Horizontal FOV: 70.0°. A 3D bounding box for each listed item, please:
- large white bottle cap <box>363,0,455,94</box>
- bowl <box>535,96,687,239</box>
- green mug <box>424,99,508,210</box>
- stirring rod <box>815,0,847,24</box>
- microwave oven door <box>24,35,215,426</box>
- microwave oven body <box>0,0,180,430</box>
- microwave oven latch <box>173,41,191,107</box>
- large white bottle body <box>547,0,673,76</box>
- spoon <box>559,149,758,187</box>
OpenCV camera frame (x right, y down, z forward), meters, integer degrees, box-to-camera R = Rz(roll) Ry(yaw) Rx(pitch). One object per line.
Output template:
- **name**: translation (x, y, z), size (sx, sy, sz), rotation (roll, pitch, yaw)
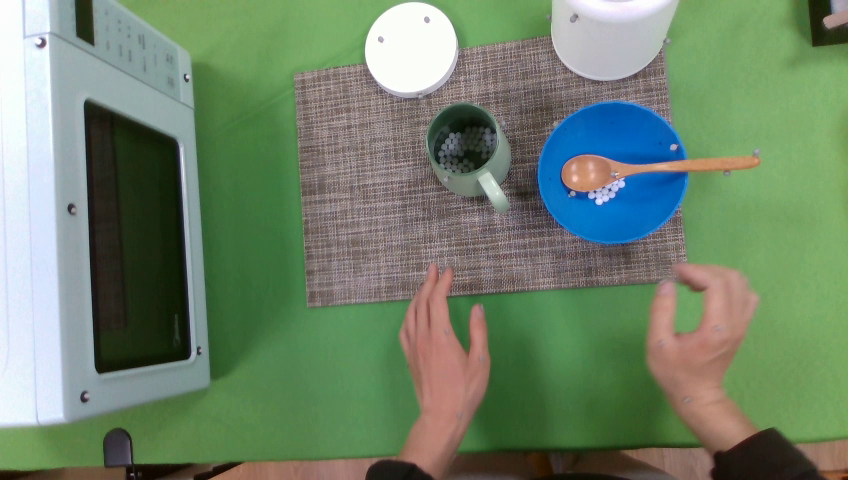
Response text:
- **large white bottle cap**: translation (-0.019, -0.237, 0.744), size (0.114, 0.018, 0.114), rotation (-1, 85, 10)
- **bowl**: translation (0.198, -0.072, 0.661), size (0.151, 0.077, 0.151), rotation (-1, 85, 11)
- **green mug**: translation (0.055, -0.089, 0.676), size (0.092, 0.105, 0.125), rotation (-32, 81, 6)
- **stirring rod**: translation (0.489, -0.259, 0.613), size (0.176, 0.006, 0.014), rotation (-20, 89, 10)
- **microwave oven door**: translation (-0.316, -0.002, 0.654), size (0.039, 0.245, 0.355), rotation (-7, 84, 10)
- **microwave oven body**: translation (-0.463, -0.026, 0.687), size (0.325, 0.261, 0.440), rotation (-7, 85, 9)
- **microwave oven latch**: translation (-0.318, -0.210, 0.773), size (0.030, 0.029, 0.079), rotation (-7, 85, 9)
- **large white bottle body**: translation (0.192, -0.265, 0.623), size (0.130, 0.185, 0.130), rotation (-2, 81, 11)
- **spoon**: translation (0.235, -0.079, 0.626), size (0.192, 0.022, 0.041), rotation (0, 89, 34)
